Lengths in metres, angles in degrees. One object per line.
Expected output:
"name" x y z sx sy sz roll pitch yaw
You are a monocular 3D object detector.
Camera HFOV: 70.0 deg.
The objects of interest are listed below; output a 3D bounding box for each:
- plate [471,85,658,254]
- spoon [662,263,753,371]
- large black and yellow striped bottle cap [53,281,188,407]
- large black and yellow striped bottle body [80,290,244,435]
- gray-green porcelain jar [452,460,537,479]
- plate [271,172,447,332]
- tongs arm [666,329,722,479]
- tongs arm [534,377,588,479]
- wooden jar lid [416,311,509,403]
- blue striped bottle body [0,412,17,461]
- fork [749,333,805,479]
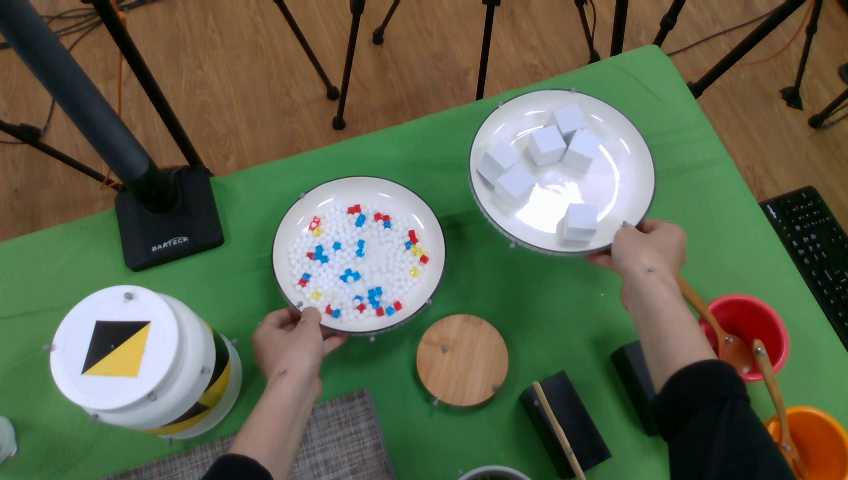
"plate" 0.155 -0.078 0.683 0.208 0.039 0.206 1 69 -2
"spoon" 0.316 0.085 0.669 0.195 0.021 0.041 44 78 -29
"large black and yellow striped bottle cap" -0.276 0.094 0.553 0.115 0.019 0.114 0 69 -1
"large black and yellow striped bottle body" -0.276 0.128 0.630 0.131 0.185 0.130 0 67 0
"gray-green porcelain jar" 0.066 0.277 0.602 0.106 0.127 0.105 0 67 0
"plate" -0.077 0.014 0.734 0.209 0.038 0.207 1 65 -2
"tongs arm" 0.296 0.283 0.615 0.028 0.028 0.385 -8 79 -8
"tongs arm" 0.216 0.309 0.608 0.051 0.026 0.383 -23 80 -7
"wooden jar lid" 0.045 0.138 0.716 0.108 0.021 0.107 0 70 0
"blue striped bottle body" -0.493 0.204 0.632 0.063 0.121 0.062 0 68 0
"fork" 0.368 0.178 0.631 0.028 0.018 0.209 -29 115 -2
